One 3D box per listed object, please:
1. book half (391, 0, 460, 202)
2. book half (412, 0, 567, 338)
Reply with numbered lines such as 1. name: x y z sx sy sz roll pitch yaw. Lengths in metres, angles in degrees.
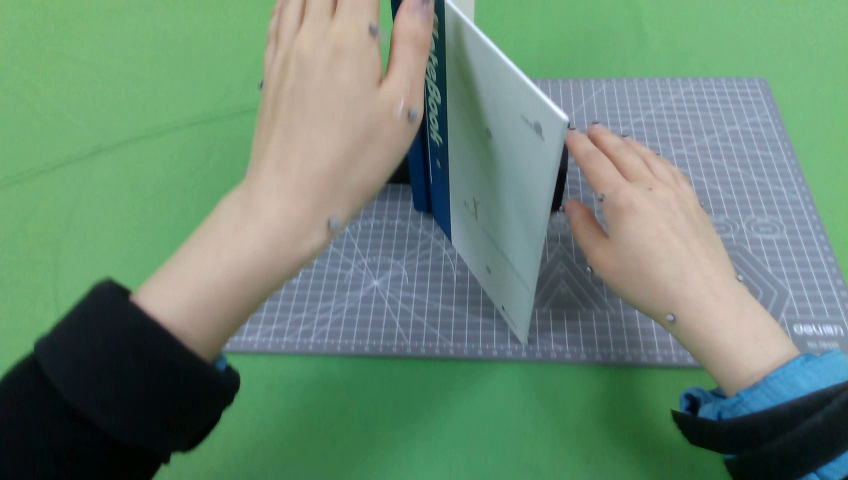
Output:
1. book half: 0.008 -0.148 0.450 0.016 0.212 0.147 10 56 10
2. book half: 0.031 -0.041 0.373 0.007 0.212 0.141 -24 56 -14
